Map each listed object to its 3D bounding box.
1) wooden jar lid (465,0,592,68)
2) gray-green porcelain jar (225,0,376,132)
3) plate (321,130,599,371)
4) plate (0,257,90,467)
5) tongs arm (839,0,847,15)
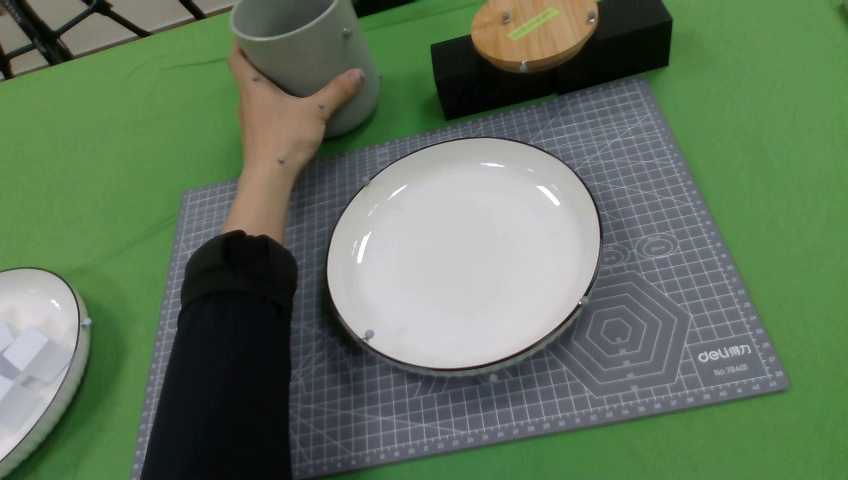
[{"bbox_3d":[0.091,-0.188,0.526,0.108,0.021,0.107,-7,56,11],"label":"wooden jar lid"},{"bbox_3d":[-0.108,-0.174,0.569,0.105,0.128,0.105,-8,54,11],"label":"gray-green porcelain jar"},{"bbox_3d":[0.026,0.004,0.459,0.209,0.038,0.207,-8,55,11],"label":"plate"},{"bbox_3d":[-0.369,0.111,0.502,0.207,0.039,0.205,-7,55,11],"label":"plate"},{"bbox_3d":[0.377,-0.069,0.420,0.028,0.028,0.383,-9,54,8],"label":"tongs arm"}]
